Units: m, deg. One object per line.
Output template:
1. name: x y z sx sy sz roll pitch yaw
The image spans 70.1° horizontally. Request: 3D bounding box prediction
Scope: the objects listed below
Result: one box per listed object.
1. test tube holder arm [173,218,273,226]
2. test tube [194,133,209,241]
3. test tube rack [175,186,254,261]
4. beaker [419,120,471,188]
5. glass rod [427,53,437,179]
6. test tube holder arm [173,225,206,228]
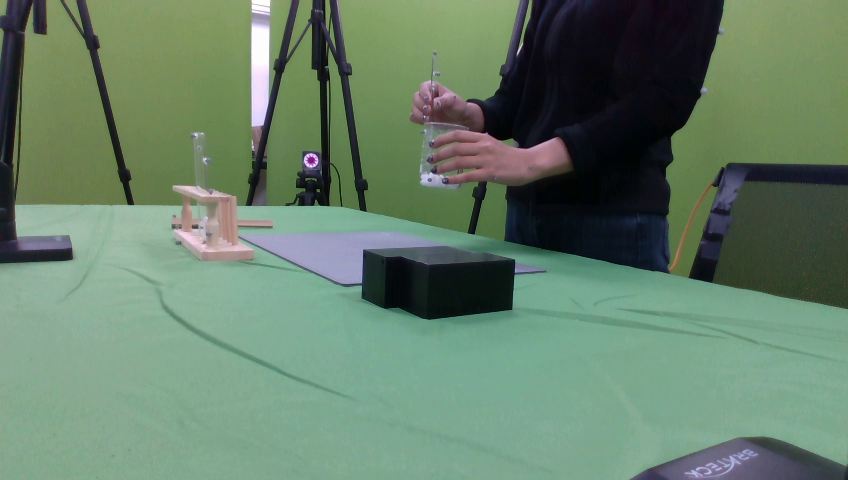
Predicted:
1. test tube holder arm: -0.371 -0.033 1.128 0.179 0.015 0.013 -1 -22 -26
2. test tube: -0.307 -0.074 0.842 0.017 0.150 0.017 -3 2 0
3. test tube rack: -0.314 -0.031 0.889 0.067 0.085 0.241 -2 8 -30
4. beaker: 0.030 -0.136 0.967 0.074 0.100 0.084 5 6 -13
5. glass rod: 0.013 -0.198 0.972 0.008 0.199 0.008 3 3 0
6. test tube holder arm: -0.415 -0.030 1.113 0.088 0.015 0.010 -1 -21 -25
